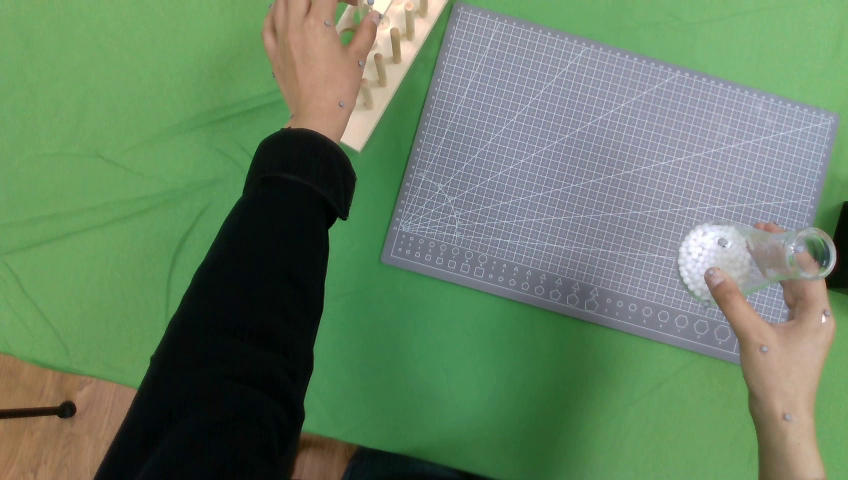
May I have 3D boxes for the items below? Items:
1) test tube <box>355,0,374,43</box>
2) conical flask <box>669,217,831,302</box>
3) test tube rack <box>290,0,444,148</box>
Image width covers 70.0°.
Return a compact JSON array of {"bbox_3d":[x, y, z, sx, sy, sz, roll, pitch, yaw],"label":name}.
[{"bbox_3d":[-0.057,-0.223,0.577,0.017,0.150,0.017,0,85,-3],"label":"test tube"},{"bbox_3d":[0.257,0.013,0.478,0.075,0.122,0.075,1,86,-9],"label":"conical flask"},{"bbox_3d":[-0.041,-0.223,0.626,0.067,0.085,0.242,30,88,0],"label":"test tube rack"}]
